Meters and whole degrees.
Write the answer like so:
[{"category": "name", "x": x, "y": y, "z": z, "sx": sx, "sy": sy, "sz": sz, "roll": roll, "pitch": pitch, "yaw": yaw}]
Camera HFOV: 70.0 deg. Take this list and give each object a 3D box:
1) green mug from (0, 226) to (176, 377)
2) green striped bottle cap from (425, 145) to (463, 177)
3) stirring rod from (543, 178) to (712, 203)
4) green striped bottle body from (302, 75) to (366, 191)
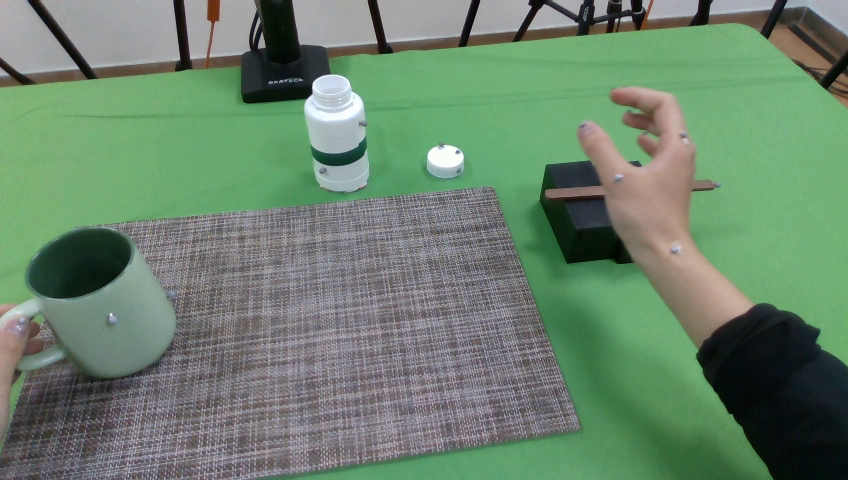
[{"category": "green mug", "x": -0.276, "y": 0.060, "z": 0.491, "sx": 0.125, "sy": 0.106, "sz": 0.091, "roll": -33, "pitch": 55, "yaw": -28}, {"category": "green striped bottle cap", "x": 0.023, "y": -0.092, "z": 0.711, "sx": 0.044, "sy": 0.020, "sz": 0.044, "roll": 0, "pitch": 42, "yaw": 0}, {"category": "stirring rod", "x": 0.207, "y": -0.051, "z": 0.614, "sx": 0.176, "sy": 0.006, "sz": 0.014, "roll": -5, "pitch": 49, "yaw": -6}, {"category": "green striped bottle body", "x": -0.097, "y": -0.117, "z": 0.660, "sx": 0.063, "sy": 0.120, "sz": 0.062, "roll": 1, "pitch": 46, "yaw": 0}]
